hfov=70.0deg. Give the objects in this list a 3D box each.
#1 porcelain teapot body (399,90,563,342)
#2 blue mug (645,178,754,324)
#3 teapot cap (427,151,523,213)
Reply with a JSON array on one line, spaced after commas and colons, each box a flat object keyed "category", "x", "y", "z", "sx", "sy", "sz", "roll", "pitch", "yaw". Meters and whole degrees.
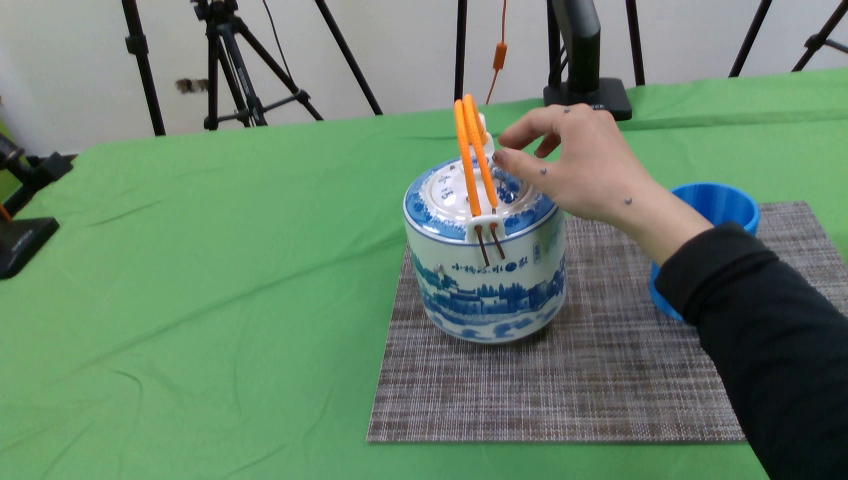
[{"category": "porcelain teapot body", "x": 0.051, "y": -0.041, "z": 0.575, "sx": 0.145, "sy": 0.227, "sz": 0.203, "roll": -8, "pitch": 39, "yaw": 4}, {"category": "blue mug", "x": 0.249, "y": 0.019, "z": 0.548, "sx": 0.082, "sy": 0.107, "sz": 0.115, "roll": -4, "pitch": 40, "yaw": 10}, {"category": "teapot cap", "x": 0.044, "y": -0.054, "z": 0.530, "sx": 0.085, "sy": 0.044, "sz": 0.084, "roll": -4, "pitch": 38, "yaw": 3}]
